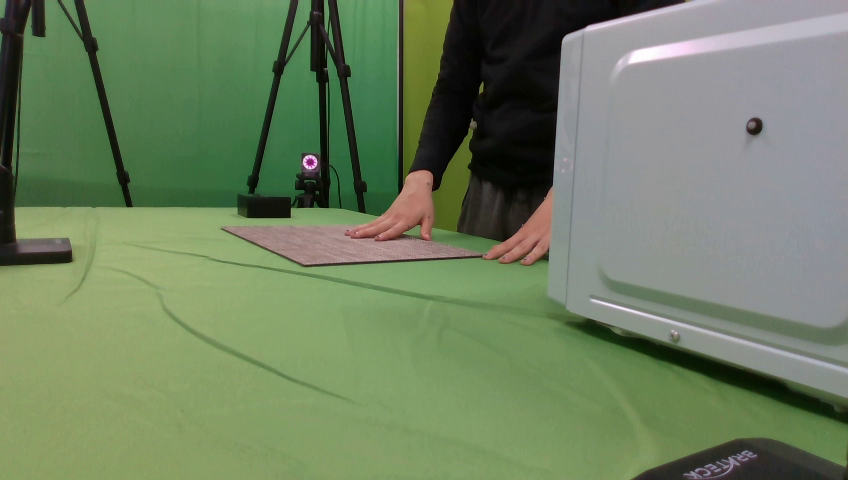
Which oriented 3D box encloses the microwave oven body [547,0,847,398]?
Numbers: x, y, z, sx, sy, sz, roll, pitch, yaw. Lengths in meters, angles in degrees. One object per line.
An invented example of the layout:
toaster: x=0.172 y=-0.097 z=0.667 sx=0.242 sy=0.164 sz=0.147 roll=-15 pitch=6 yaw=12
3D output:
microwave oven body: x=0.378 y=-0.045 z=0.509 sx=0.444 sy=0.260 sz=0.324 roll=-2 pitch=8 yaw=-31

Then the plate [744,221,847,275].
plate: x=0.407 y=0.008 z=0.553 sx=0.209 sy=0.038 sz=0.209 roll=2 pitch=5 yaw=0

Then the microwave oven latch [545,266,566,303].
microwave oven latch: x=0.147 y=0.038 z=0.555 sx=0.079 sy=0.029 sz=0.030 roll=-2 pitch=7 yaw=-29

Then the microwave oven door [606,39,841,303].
microwave oven door: x=0.341 y=-0.070 z=0.654 sx=0.358 sy=0.243 sz=0.039 roll=-3 pitch=9 yaw=-31
